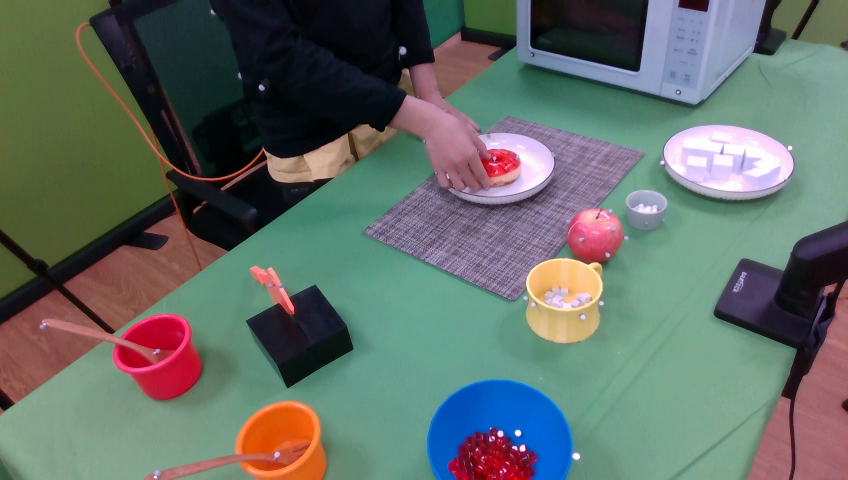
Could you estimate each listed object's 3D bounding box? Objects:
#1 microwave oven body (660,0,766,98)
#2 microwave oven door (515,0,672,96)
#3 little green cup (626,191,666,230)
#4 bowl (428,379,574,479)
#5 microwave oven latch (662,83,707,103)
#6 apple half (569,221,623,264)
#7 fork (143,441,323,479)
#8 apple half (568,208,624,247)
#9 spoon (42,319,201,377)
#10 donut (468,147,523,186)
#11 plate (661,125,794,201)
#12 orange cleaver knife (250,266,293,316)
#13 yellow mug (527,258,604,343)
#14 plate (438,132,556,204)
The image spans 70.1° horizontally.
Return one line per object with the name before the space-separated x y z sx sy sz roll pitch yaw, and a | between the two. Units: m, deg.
microwave oven body | 0.472 -0.513 1.317 0.438 0.261 0.327 26 51 34
microwave oven door | 0.343 -0.454 1.259 0.353 0.245 0.039 26 51 33
little green cup | 0.352 -0.046 0.963 0.061 0.039 0.061 -4 40 4
bowl | 0.082 0.233 0.644 0.151 0.077 0.150 -4 39 4
microwave oven latch | 0.517 -0.296 1.204 0.078 0.029 0.030 27 52 35
apple half | 0.251 0.010 0.884 0.081 0.081 0.032 3 37 12
fork | -0.189 0.231 0.631 0.028 0.018 0.209 36 13 37
apple half | 0.259 -0.014 0.914 0.080 0.075 0.053 0 36 15
spoon | -0.385 0.135 0.779 0.195 0.021 0.041 28 36 -26
donut | 0.127 -0.133 1.076 0.099 0.048 0.098 -6 35 5
plate | 0.513 -0.128 1.035 0.207 0.039 0.206 -4 40 4
orange cleaver knife | -0.221 0.071 0.873 0.012 0.077 0.210 -25 11 -21
yellow mug | 0.201 0.073 0.825 0.131 0.064 0.099 -32 46 -27
plate | 0.130 -0.125 1.084 0.209 0.038 0.208 -4 40 4
